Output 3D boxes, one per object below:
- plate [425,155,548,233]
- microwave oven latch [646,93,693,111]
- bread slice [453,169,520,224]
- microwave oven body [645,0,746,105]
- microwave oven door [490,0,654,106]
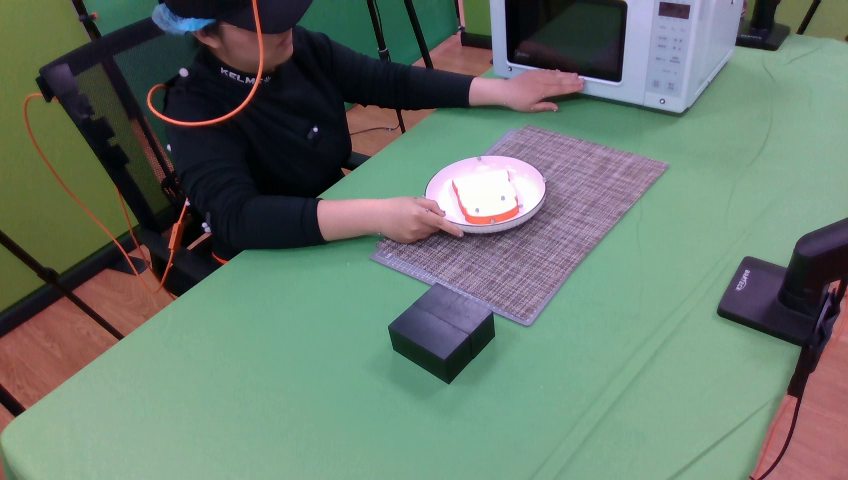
[{"bbox_3d":[0.108,-0.076,1.038,0.209,0.038,0.208,-5,40,5],"label":"plate"},{"bbox_3d":[0.477,-0.273,1.177,0.078,0.029,0.030,22,50,33],"label":"microwave oven latch"},{"bbox_3d":[0.112,-0.076,1.040,0.105,0.019,0.130,-11,40,-1],"label":"bread slice"},{"bbox_3d":[0.417,-0.486,1.290,0.438,0.261,0.327,22,50,33],"label":"microwave oven body"},{"bbox_3d":[0.293,-0.420,1.228,0.353,0.245,0.039,22,49,32],"label":"microwave oven door"}]
